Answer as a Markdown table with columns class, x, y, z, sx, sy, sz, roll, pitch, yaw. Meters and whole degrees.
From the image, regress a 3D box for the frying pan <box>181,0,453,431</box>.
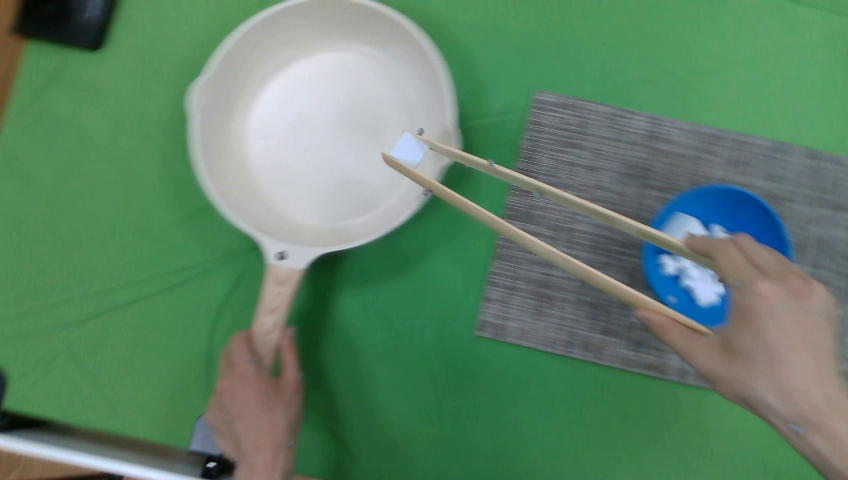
| class | x | y | z | sx | sy | sz | roll | pitch | yaw |
| --- | --- | --- | --- | --- | --- | --- | --- | --- | --- |
| frying pan | -0.140 | -0.038 | 0.671 | 0.306 | 0.103 | 0.485 | 12 | 76 | 4 |

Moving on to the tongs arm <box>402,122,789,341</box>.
| class | x | y | z | sx | sy | sz | roll | pitch | yaw |
| --- | --- | --- | --- | --- | --- | --- | --- | --- | --- |
| tongs arm | 0.115 | -0.025 | 0.522 | 0.381 | 0.027 | 0.050 | 27 | 74 | 32 |

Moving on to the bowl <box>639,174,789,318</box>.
| class | x | y | z | sx | sy | sz | roll | pitch | yaw |
| --- | --- | --- | --- | --- | --- | --- | --- | --- | --- |
| bowl | 0.301 | 0.010 | 0.661 | 0.151 | 0.077 | 0.151 | 0 | 84 | 2 |

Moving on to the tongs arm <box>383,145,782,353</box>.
| class | x | y | z | sx | sy | sz | roll | pitch | yaw |
| --- | --- | --- | --- | --- | --- | --- | --- | --- | --- |
| tongs arm | 0.100 | -0.007 | 0.518 | 0.384 | 0.028 | 0.028 | 32 | 73 | 33 |
